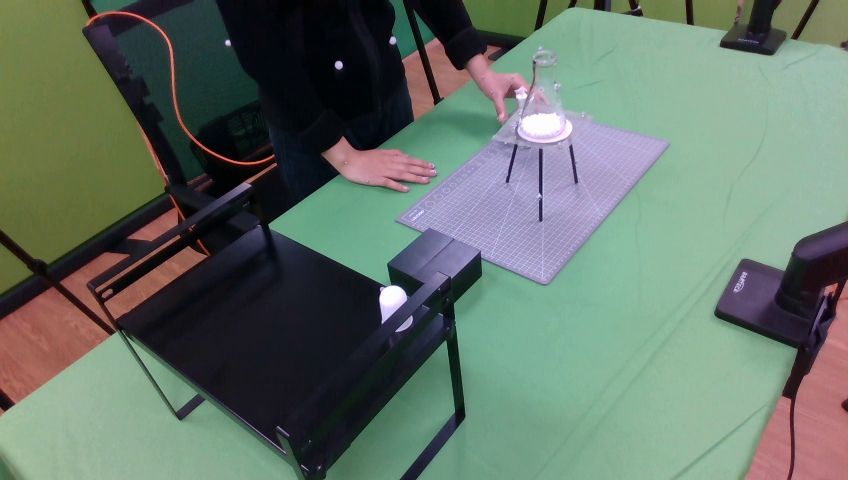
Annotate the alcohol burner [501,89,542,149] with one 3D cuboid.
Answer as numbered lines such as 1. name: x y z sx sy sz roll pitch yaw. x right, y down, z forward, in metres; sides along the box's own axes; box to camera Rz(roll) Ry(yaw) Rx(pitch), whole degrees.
1. alcohol burner: 0.185 -0.235 1.149 0.078 0.119 0.077 -5 42 5

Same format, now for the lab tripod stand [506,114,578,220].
1. lab tripod stand: 0.198 -0.127 1.005 0.148 0.132 0.147 -3 42 3

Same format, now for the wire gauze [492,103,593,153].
1. wire gauze: 0.190 -0.179 0.965 0.120 0.011 0.125 17 49 29

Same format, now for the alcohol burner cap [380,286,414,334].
1. alcohol burner cap: -0.029 0.067 0.605 0.034 0.048 0.033 -5 39 4

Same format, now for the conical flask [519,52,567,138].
1. conical flask: 0.183 -0.223 0.926 0.075 0.122 0.075 -4 41 4
